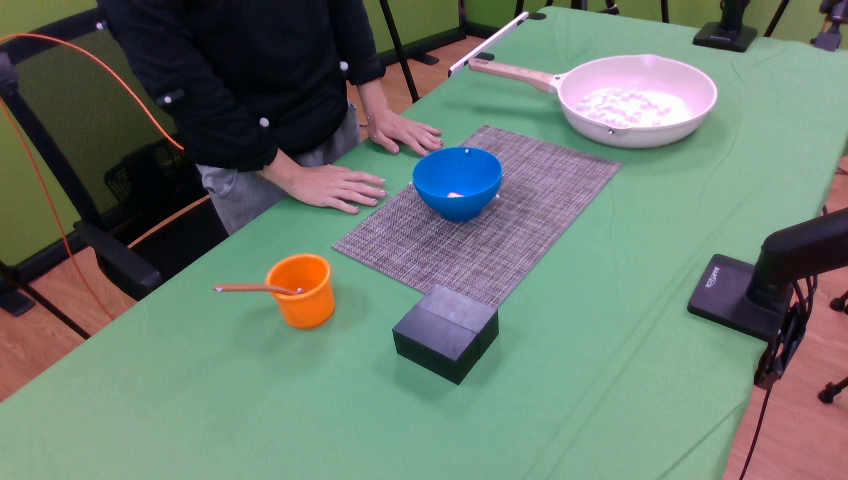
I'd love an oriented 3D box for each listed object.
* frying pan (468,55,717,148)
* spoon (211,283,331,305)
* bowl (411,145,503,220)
[{"bbox_3d":[0.316,-0.304,1.213,0.485,0.103,0.307,20,46,17],"label":"frying pan"},{"bbox_3d":[-0.201,0.069,0.819,0.041,0.195,0.021,33,99,37],"label":"spoon"},{"bbox_3d":[0.057,-0.086,1.010,0.151,0.077,0.150,-4,41,4],"label":"bowl"}]
